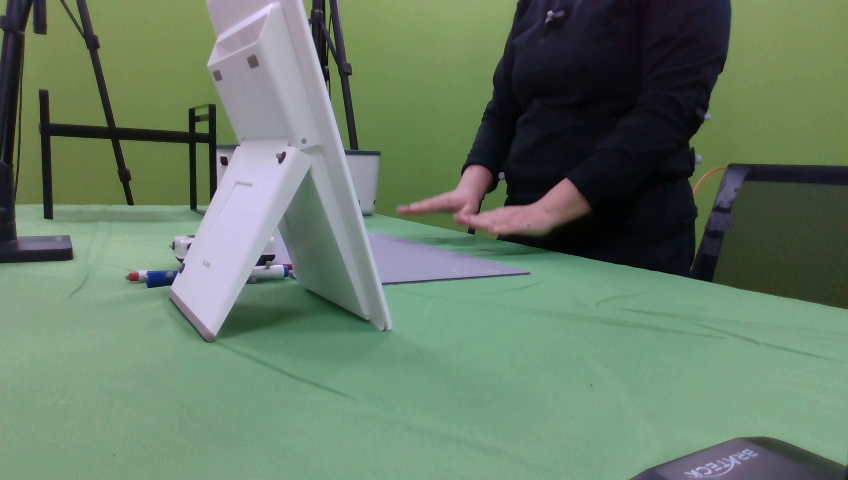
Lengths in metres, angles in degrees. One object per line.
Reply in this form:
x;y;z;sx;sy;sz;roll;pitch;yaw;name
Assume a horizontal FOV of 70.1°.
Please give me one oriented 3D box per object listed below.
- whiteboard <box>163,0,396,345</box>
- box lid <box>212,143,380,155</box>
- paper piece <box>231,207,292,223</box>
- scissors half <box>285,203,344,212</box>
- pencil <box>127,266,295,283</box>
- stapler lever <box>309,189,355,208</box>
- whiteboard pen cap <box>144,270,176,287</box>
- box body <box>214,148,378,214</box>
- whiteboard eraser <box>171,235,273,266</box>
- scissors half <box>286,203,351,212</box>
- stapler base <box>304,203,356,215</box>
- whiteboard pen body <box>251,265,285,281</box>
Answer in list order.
-0.173;-0.053;0.511;0.144;0.305;0.216;-23;19;-26;whiteboard
-0.326;-0.227;1.533;0.373;0.015;0.262;-2;8;-32;box lid
-0.395;-0.062;1.461;0.139;0.008;0.135;14;-4;-21;paper piece
-0.280;-0.082;1.552;0.040;0.013;0.176;1;9;45;scissors half
-0.231;0.037;0.691;0.195;0.012;0.012;-2;9;-34;pencil
-0.228;-0.104;1.507;0.119;0.040;0.026;3;17;-35;stapler lever
-0.271;0.039;0.627;0.033;0.018;0.018;-3;10;-33;whiteboard pen cap
-0.328;-0.154;1.543;0.366;0.160;0.253;-2;9;-32;box body
-0.248;0.014;0.747;0.113;0.042;0.055;-1;10;-32;whiteboard eraser
-0.268;-0.079;1.535;0.176;0.013;0.040;-7;12;-23;scissors half
-0.234;-0.081;1.511;0.131;0.024;0.041;5;16;-35;stapler base
-0.220;0.039;0.656;0.141;0.017;0.017;-2;9;-31;whiteboard pen body
